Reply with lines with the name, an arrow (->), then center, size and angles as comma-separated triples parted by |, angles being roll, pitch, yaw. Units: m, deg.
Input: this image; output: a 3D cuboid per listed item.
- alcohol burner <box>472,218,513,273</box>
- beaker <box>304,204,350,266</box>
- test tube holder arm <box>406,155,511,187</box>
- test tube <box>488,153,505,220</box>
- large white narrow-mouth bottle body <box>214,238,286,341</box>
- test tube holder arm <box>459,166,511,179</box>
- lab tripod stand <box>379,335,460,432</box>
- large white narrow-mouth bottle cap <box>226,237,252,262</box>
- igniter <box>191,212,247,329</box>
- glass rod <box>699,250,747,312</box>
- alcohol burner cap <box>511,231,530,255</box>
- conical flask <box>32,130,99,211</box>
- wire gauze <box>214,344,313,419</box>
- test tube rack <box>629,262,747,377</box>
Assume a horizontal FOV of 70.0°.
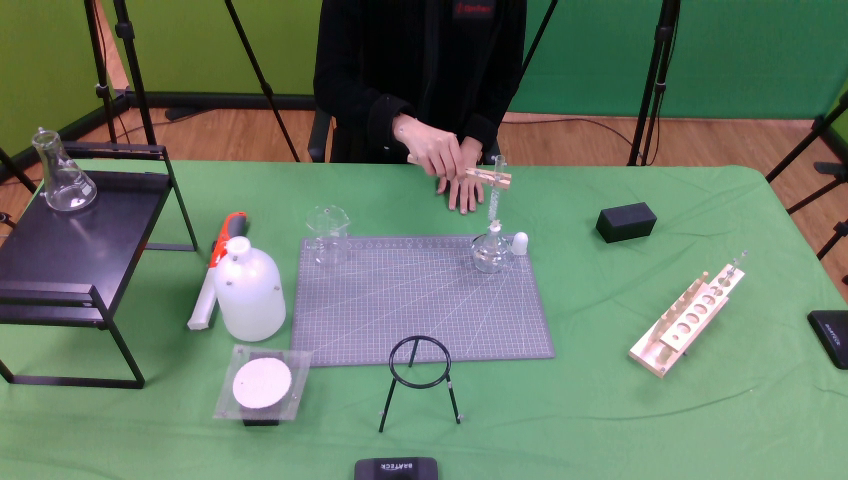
alcohol burner -> 0.128, 0.005, 1.132 | 0.078, 0.120, 0.077 | 0, 47, 0
beaker -> -0.178, -0.006, 1.132 | 0.084, 0.101, 0.073 | 4, 46, -1
test tube holder arm -> 0.056, -0.115, 1.008 | 0.178, 0.015, 0.013 | 13, 45, 8
test tube -> 0.122, -0.086, 1.021 | 0.017, 0.151, 0.017 | 0, 50, 0
large white narrow-mouth bottle body -> -0.285, 0.073, 0.986 | 0.102, 0.195, 0.101 | 2, 46, -2
test tube holder arm -> 0.101, -0.110, 1.007 | 0.088, 0.015, 0.010 | 9, 45, 3
lab tripod stand -> -0.010, 0.214, 0.911 | 0.148, 0.132, 0.147 | 1, 45, 0
large white narrow-mouth bottle cap -> -0.282, 0.015, 0.923 | 0.038, 0.024, 0.037 | 2, 46, -2
igniter -> -0.376, 0.047, 1.121 | 0.057, 0.025, 0.275 | -4, 46, 6
glass rod -> 0.500, 0.075, 1.021 | 0.008, 0.201, 0.008 | 0, 55, 0
alcohol burner cap -> 0.191, 0.003, 1.187 | 0.034, 0.048, 0.033 | 3, 44, -3
conical flask -> -0.565, -0.111, 0.944 | 0.075, 0.122, 0.075 | 2, 46, -2
wire gauze -> -0.241, 0.213, 0.915 | 0.121, 0.011, 0.124 | 5, 46, 1
test tube rack -> 0.464, 0.126, 1.061 | 0.242, 0.085, 0.066 | -34, 56, -30
